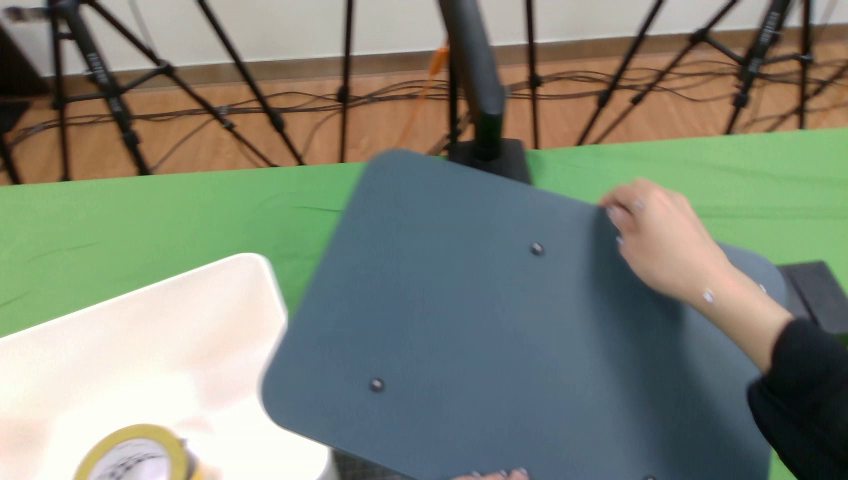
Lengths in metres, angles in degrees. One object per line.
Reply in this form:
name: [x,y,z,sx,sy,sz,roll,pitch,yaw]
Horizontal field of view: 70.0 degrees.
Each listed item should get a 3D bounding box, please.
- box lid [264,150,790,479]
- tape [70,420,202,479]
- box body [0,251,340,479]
box lid: [0.089,0.076,0.476,0.370,0.015,0.262,18,65,9]
tape: [-0.283,0.240,0.597,0.117,0.053,0.115,-1,51,2]
box body: [-0.280,0.203,0.564,0.364,0.162,0.251,-22,53,-14]
